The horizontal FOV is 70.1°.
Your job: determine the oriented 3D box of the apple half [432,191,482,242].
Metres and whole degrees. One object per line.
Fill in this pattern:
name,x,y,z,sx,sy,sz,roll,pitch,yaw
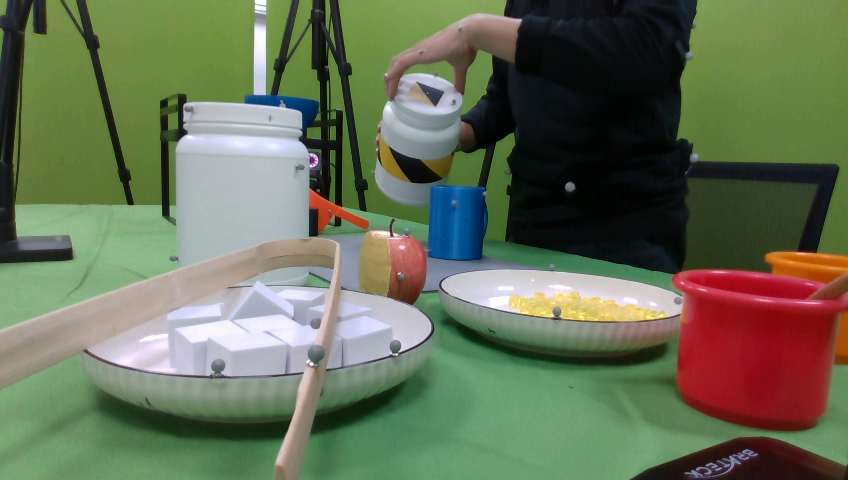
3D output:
apple half,0.048,-0.037,0.905,0.081,0.081,0.033,2,14,-1

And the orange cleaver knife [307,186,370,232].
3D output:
orange cleaver knife,-0.197,-0.056,1.141,0.212,0.077,0.012,29,0,-35

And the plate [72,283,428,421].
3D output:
plate,-0.102,0.066,0.381,0.208,0.039,0.207,2,7,0

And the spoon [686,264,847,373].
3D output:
spoon,0.215,0.032,0.328,0.042,0.021,0.193,-3,-35,-26

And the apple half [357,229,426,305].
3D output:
apple half,-0.026,0.028,0.570,0.053,0.074,0.080,3,2,-28

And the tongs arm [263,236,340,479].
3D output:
tongs arm,-0.074,0.039,0.349,0.051,0.026,0.384,-2,10,-3

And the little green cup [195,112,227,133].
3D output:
little green cup,-0.412,-0.228,1.171,0.061,0.038,0.061,3,8,0

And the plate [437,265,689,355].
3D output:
plate,0.114,0.057,0.517,0.209,0.038,0.209,3,7,0

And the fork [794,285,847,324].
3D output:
fork,0.332,0.018,0.442,0.028,0.018,0.207,-1,-36,-16

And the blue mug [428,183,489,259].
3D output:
blue mug,0.059,-0.031,0.907,0.082,0.106,0.117,9,9,42

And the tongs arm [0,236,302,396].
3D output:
tongs arm,-0.158,0.039,0.351,0.028,0.028,0.388,-3,8,12

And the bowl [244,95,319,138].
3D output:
bowl,-0.293,-0.251,1.249,0.151,0.077,0.151,2,7,0

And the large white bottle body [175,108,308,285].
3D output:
large white bottle body,-0.188,-0.042,0.630,0.131,0.184,0.130,2,8,0

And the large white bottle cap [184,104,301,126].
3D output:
large white bottle cap,-0.184,-0.126,0.618,0.115,0.018,0.115,2,8,0

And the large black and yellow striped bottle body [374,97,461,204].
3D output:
large black and yellow striped bottle body,-0.011,-0.167,1.009,0.131,0.184,0.130,7,45,-6

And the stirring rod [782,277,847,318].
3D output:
stirring rod,0.344,0.019,0.461,0.014,0.006,0.176,-13,-27,-30

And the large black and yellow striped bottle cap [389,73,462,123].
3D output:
large black and yellow striped bottle cap,0.002,-0.224,0.950,0.115,0.019,0.114,6,45,-6
